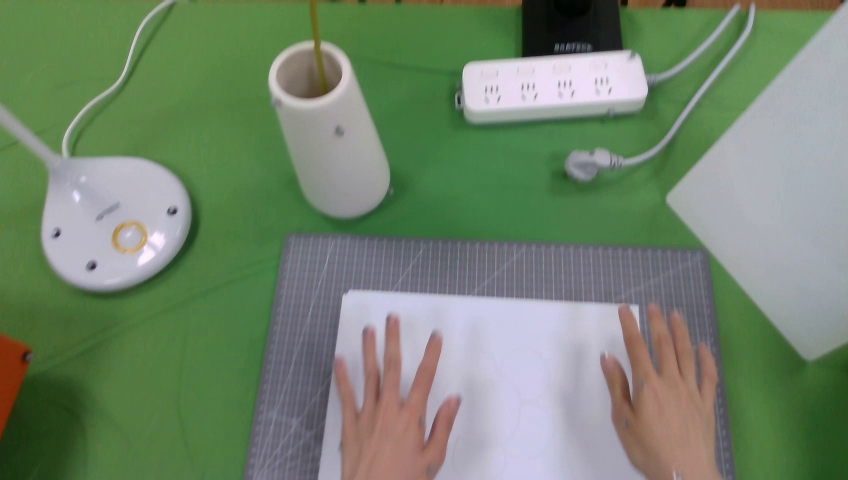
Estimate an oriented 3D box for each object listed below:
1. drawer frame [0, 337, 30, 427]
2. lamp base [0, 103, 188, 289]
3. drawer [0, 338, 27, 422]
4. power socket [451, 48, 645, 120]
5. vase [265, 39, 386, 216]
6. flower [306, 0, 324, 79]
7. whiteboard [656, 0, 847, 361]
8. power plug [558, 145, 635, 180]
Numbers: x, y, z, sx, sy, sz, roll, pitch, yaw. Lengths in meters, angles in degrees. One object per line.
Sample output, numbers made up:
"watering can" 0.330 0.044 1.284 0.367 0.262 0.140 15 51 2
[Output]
"drawer frame" -0.490 0.167 0.511 0.213 0.083 0.200 6 67 3
"lamp base" -0.352 -0.060 0.594 0.178 0.181 0.160 34 72 18
"drawer" -0.484 0.165 0.508 0.211 0.074 0.193 6 68 5
"power socket" 0.145 -0.183 0.708 0.227 0.033 0.071 -3 68 0
"vase" -0.095 -0.102 0.593 0.098 0.201 0.097 -1 66 3
"flower" -0.091 -0.152 0.524 0.038 0.365 0.043 -9 48 -9
"whiteboard" 0.402 -0.067 0.535 0.144 0.307 0.215 -21 66 -27
"power plug" 0.183 -0.077 0.660 0.073 0.053 0.035 25 64 -9
